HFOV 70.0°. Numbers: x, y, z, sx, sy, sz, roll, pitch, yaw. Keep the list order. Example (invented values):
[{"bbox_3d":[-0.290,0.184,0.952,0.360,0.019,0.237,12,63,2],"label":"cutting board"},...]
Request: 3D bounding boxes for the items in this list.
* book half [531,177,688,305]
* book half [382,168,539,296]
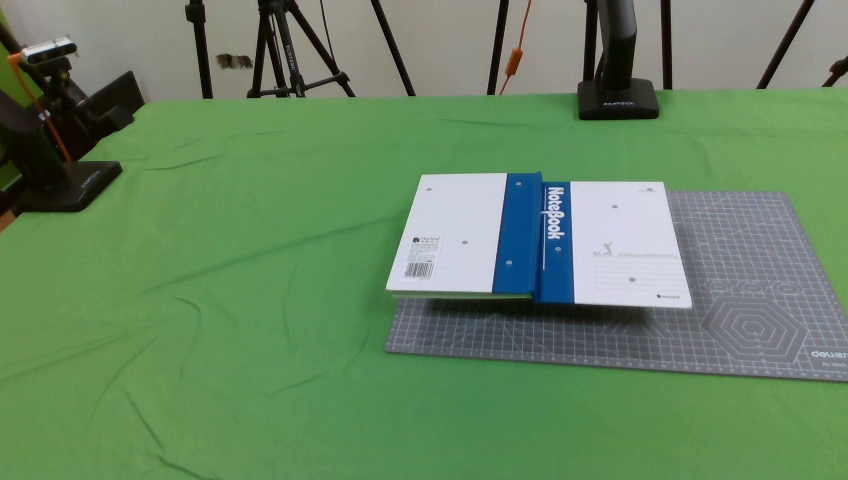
[{"bbox_3d":[0.189,-0.008,0.643,0.143,0.007,0.208,2,39,11],"label":"book half"},{"bbox_3d":[0.048,-0.017,0.665,0.148,0.016,0.208,1,40,12],"label":"book half"}]
